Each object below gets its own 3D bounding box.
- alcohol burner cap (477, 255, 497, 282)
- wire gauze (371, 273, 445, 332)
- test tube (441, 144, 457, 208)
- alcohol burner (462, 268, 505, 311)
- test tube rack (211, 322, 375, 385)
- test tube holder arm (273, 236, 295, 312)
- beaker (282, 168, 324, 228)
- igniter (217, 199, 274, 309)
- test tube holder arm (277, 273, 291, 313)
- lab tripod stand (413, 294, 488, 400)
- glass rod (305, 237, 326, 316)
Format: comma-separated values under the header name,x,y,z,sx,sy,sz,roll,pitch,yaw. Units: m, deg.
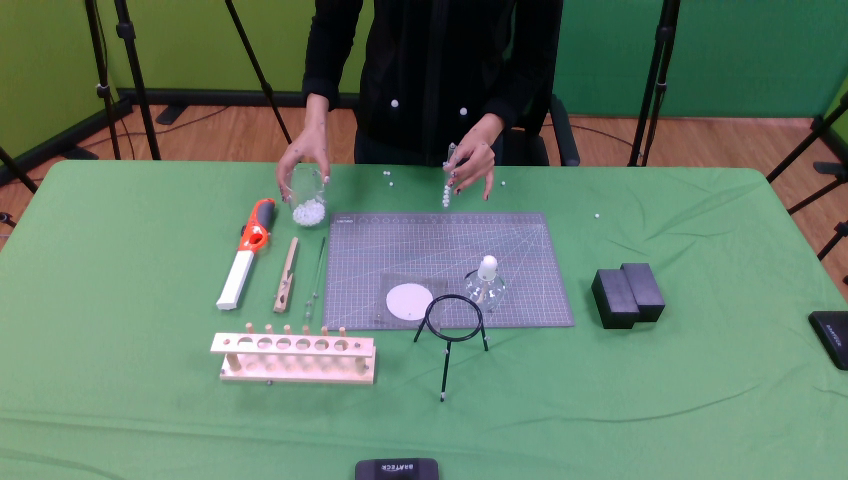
name,x,y,z,sx,sy,sz,roll,pitch,yaw
alcohol burner cap,0.110,0.047,1.046,0.034,0.048,0.033,2,52,-2
wire gauze,-0.028,0.109,1.099,0.125,0.011,0.121,7,45,4
test tube,0.045,-0.116,1.126,0.017,0.151,0.017,3,48,-3
alcohol burner,0.108,0.071,1.072,0.078,0.119,0.077,4,45,-3
test tube rack,-0.203,0.176,0.969,0.242,0.085,0.066,3,46,-2
test tube holder arm,-0.259,0.059,1.123,0.013,0.015,0.177,28,39,-27
beaker,-0.231,-0.079,1.184,0.084,0.101,0.074,24,51,16
igniter,-0.336,0.017,1.152,0.057,0.025,0.275,-2,45,8
test tube holder arm,-0.254,0.094,1.094,0.010,0.015,0.087,29,38,-26
lab tripod stand,0.044,0.159,0.972,0.148,0.132,0.147,3,44,-2
glass rod,-0.202,0.064,1.131,0.008,0.008,0.198,4,44,0
